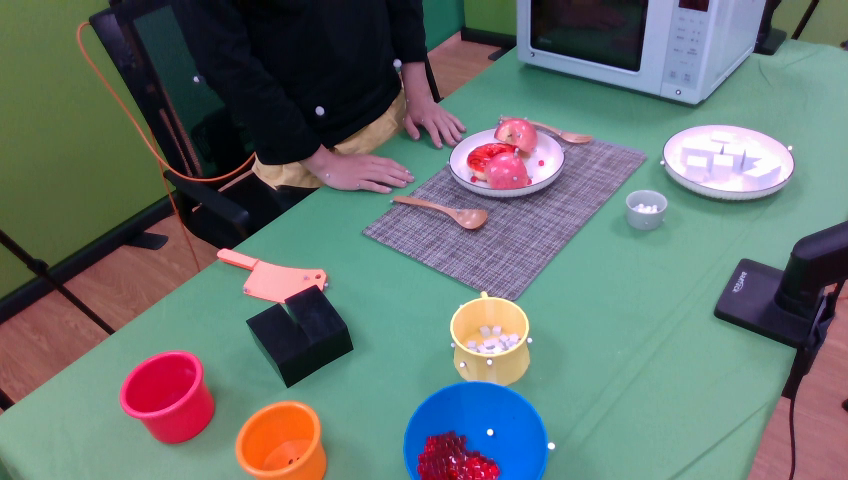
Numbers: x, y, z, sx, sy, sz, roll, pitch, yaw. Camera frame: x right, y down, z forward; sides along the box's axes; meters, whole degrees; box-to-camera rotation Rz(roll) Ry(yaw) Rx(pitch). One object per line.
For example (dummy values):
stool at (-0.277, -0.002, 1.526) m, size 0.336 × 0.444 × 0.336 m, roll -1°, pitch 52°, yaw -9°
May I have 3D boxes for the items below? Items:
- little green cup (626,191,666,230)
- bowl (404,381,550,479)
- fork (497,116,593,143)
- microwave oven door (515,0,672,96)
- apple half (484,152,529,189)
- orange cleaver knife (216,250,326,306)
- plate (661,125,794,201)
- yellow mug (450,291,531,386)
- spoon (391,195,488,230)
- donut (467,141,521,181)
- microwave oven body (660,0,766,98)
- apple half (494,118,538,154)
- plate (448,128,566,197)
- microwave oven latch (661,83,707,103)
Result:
little green cup at (0.352, -0.046, 0.963) m, size 0.061 × 0.039 × 0.061 m, roll -4°, pitch 40°, yaw 4°
bowl at (0.058, 0.235, 0.645) m, size 0.151 × 0.077 × 0.150 m, roll -4°, pitch 39°, yaw 4°
fork at (0.235, -0.220, 1.195) m, size 0.206 × 0.019 × 0.028 m, roll 23°, pitch 55°, yaw 29°
microwave oven door at (0.343, -0.455, 1.259) m, size 0.353 × 0.245 × 0.039 m, roll 26°, pitch 51°, yaw 33°
apple half at (0.144, -0.116, 1.032) m, size 0.081 × 0.033 × 0.081 m, roll 3°, pitch 77°, yaw -11°
orange cleaver knife at (-0.248, 0.058, 0.945) m, size 0.210 × 0.012 × 0.077 m, roll 12°, pitch 49°, yaw 20°
plate at (0.513, -0.128, 1.035) m, size 0.207 × 0.039 × 0.206 m, roll -4°, pitch 40°, yaw 4°
yellow mug at (0.085, 0.120, 0.786) m, size 0.100 × 0.064 × 0.130 m, roll -7°, pitch 39°, yaw 1°
spoon at (0.023, -0.054, 1.029) m, size 0.192 × 0.022 × 0.041 m, roll 18°, pitch 70°, yaw 27°
donut at (0.126, -0.144, 1.090) m, size 0.099 × 0.048 × 0.098 m, roll -6°, pitch 38°, yaw 5°
microwave oven body at (0.472, -0.513, 1.317) m, size 0.438 × 0.261 × 0.327 m, roll 26°, pitch 51°, yaw 34°
apple half at (0.175, -0.196, 1.113) m, size 0.080 × 0.053 × 0.075 m, roll 29°, pitch 12°, yaw 34°
plate at (0.150, -0.138, 1.096) m, size 0.209 × 0.038 × 0.208 m, roll -4°, pitch 40°, yaw 4°
microwave oven latch at (0.517, -0.296, 1.204) m, size 0.078 × 0.029 × 0.030 m, roll 27°, pitch 52°, yaw 35°
